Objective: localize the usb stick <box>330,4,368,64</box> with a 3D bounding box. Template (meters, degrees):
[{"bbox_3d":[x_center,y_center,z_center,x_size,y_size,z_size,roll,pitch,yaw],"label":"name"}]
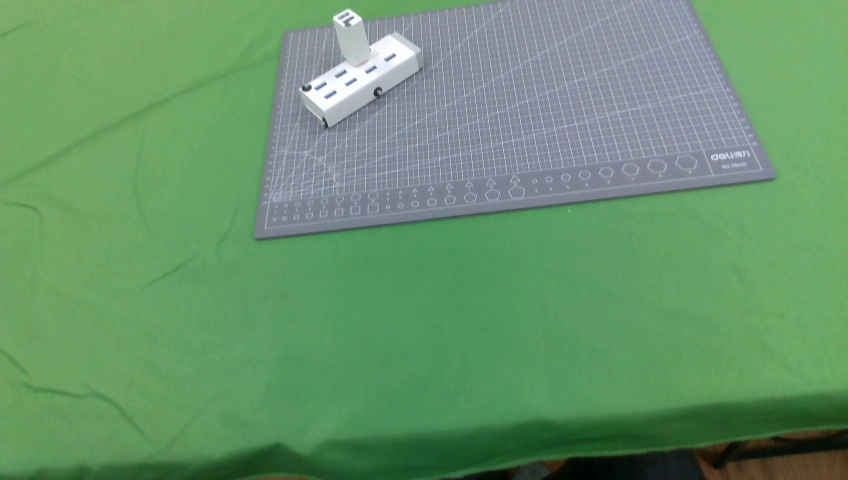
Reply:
[{"bbox_3d":[-0.073,-0.203,0.608,0.021,0.060,0.027,-38,57,-17],"label":"usb stick"}]

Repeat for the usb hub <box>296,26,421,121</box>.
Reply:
[{"bbox_3d":[-0.066,-0.173,0.623,0.125,0.025,0.049,-36,58,-16],"label":"usb hub"}]
